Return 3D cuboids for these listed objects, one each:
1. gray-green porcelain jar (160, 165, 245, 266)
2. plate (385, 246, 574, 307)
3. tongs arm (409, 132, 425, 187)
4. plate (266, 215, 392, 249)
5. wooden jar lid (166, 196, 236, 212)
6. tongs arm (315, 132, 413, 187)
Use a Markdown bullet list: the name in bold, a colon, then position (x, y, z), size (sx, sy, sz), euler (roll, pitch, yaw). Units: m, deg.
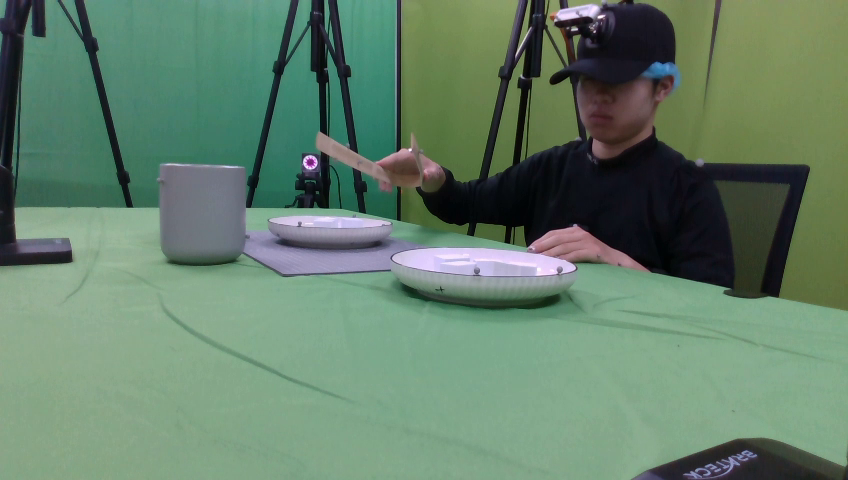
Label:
- **gray-green porcelain jar**: position (-0.291, -0.034, 0.799), size (0.106, 0.126, 0.106), euler (2, 8, 0)
- **plate**: position (0.060, 0.041, 0.678), size (0.208, 0.039, 0.207), euler (3, 7, 0)
- **tongs arm**: position (-0.015, -0.126, 1.014), size (0.028, 0.027, 0.387), euler (-4, -3, 1)
- **plate**: position (-0.159, -0.015, 1.019), size (0.209, 0.038, 0.209), euler (3, 7, 0)
- **wooden jar lid**: position (-0.369, -0.060, 1.001), size (0.108, 0.020, 0.108), euler (3, 6, 0)
- **tongs arm**: position (-0.087, -0.128, 1.025), size (0.050, 0.026, 0.385), euler (-1, -3, 12)
